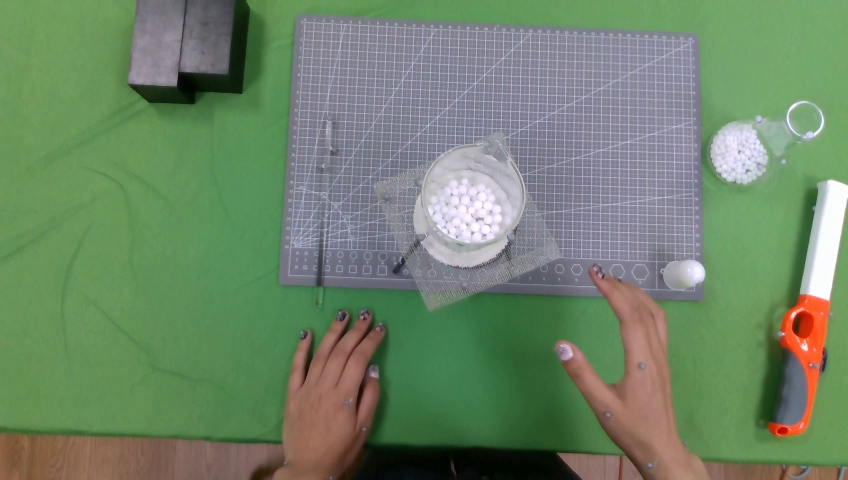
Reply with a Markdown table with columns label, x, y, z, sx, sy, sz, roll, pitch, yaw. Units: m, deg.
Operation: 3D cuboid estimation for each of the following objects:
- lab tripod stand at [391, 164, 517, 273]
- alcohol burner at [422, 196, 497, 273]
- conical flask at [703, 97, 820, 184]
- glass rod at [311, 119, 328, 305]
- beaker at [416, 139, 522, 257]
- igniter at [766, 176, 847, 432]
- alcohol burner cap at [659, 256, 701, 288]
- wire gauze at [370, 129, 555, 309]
| label | x | y | z | sx | sy | sz | roll | pitch | yaw |
| --- | --- | --- | --- | --- | --- | --- | --- | --- | --- |
| lab tripod stand | 0.031 | -0.010 | 0.581 | 0.148 | 0.131 | 0.148 | 0 | 85 | -1 |
| alcohol burner | 0.034 | -0.008 | 0.591 | 0.078 | 0.119 | 0.077 | 0 | 81 | 1 |
| conical flask | 0.342 | -0.105 | 0.610 | 0.075 | 0.122 | 0.075 | 0 | 82 | -1 |
| glass rod | -0.110 | -0.031 | 0.642 | 0.008 | 0.008 | 0.199 | 3 | 86 | -1 |
| beaker | 0.032 | -0.028 | 0.469 | 0.074 | 0.100 | 0.084 | 24 | 83 | 1 |
| igniter | 0.404 | 0.067 | 0.638 | 0.057 | 0.025 | 0.276 | 17 | 83 | -9 |
| alcohol burner cap | 0.269 | 0.032 | 0.628 | 0.034 | 0.048 | 0.034 | 0 | 83 | -1 |
| wire gauze | 0.034 | -0.018 | 0.516 | 0.125 | 0.011 | 0.121 | -23 | 87 | -6 |
